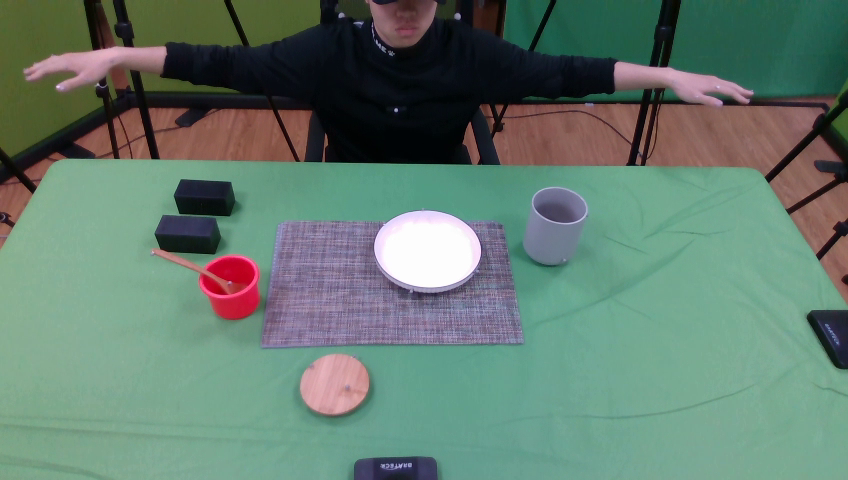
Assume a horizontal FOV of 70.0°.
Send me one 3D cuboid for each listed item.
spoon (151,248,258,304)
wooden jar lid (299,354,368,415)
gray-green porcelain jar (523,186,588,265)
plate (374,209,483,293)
[{"bbox_3d":[-0.369,0.058,1.028,0.195,0.021,0.041,36,35,-32],"label":"spoon"},{"bbox_3d":[-0.143,0.232,0.964,0.108,0.021,0.107,2,45,-2],"label":"wooden jar lid"},{"bbox_3d":[0.249,-0.023,1.164,0.106,0.127,0.105,2,46,-2],"label":"gray-green porcelain jar"},{"bbox_3d":[0.008,0.024,1.158,0.208,0.039,0.206,2,46,-2],"label":"plate"}]
